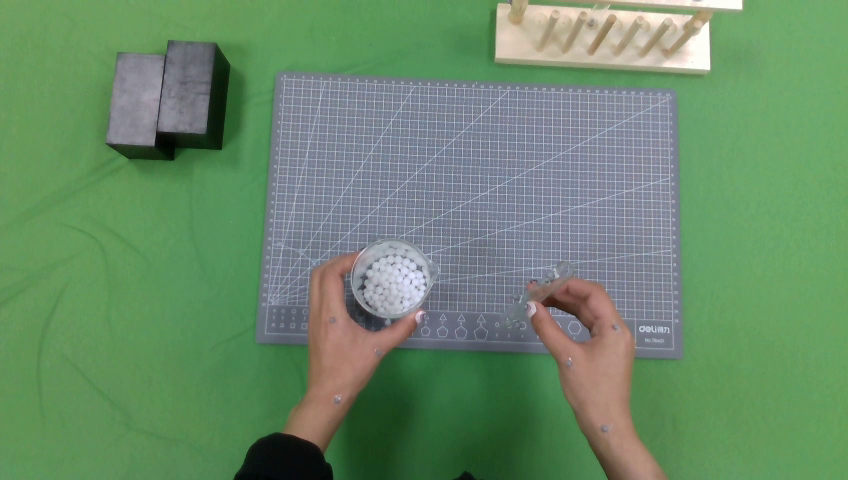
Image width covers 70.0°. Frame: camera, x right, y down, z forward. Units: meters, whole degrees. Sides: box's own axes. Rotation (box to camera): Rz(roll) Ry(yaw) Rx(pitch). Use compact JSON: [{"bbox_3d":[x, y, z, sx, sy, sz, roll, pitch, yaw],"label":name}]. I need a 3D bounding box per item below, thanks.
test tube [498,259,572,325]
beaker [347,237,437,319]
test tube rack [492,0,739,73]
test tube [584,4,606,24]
[{"bbox_3d":[0.096,0.051,0.547,0.017,0.151,0.017,5,66,-11],"label":"test tube"},{"bbox_3d":[-0.030,0.040,0.598,0.084,0.100,0.073,-12,82,-4],"label":"beaker"},{"bbox_3d":[0.200,-0.236,0.656,0.242,0.085,0.066,3,81,-1],"label":"test tube rack"},{"bbox_3d":[0.191,-0.263,0.610,0.017,0.150,0.017,1,78,-4],"label":"test tube"}]
